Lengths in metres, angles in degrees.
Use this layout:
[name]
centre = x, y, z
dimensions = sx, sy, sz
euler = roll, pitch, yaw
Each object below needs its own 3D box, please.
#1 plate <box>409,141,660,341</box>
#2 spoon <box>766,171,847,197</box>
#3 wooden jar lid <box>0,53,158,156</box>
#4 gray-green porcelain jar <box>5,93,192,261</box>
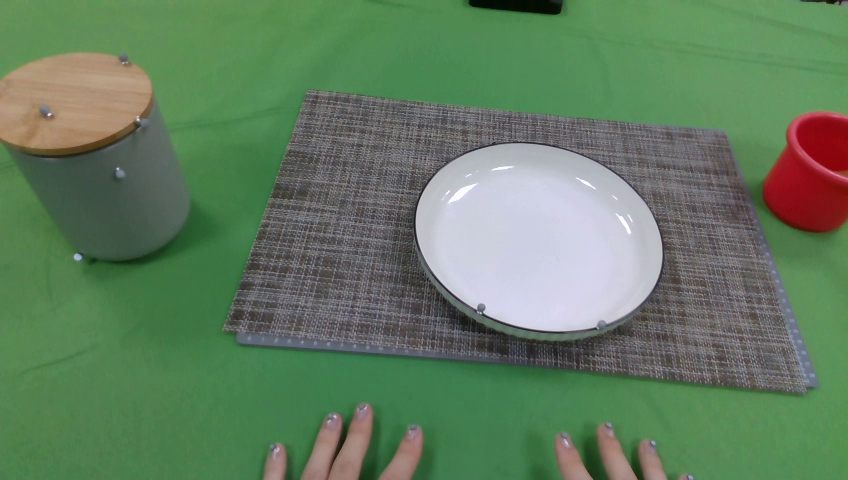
[plate]
centre = 0.091, 0.000, 0.516
dimensions = 0.208, 0.039, 0.205
euler = 2, 51, -3
[spoon]
centre = 0.398, -0.058, 0.521
dimensions = 0.041, 0.022, 0.192
euler = -41, 20, -30
[wooden jar lid]
centre = -0.245, -0.094, 0.428
dimensions = 0.108, 0.021, 0.107
euler = 5, 50, -5
[gray-green porcelain jar]
centre = -0.248, -0.054, 0.479
dimensions = 0.106, 0.127, 0.105
euler = 3, 51, -3
